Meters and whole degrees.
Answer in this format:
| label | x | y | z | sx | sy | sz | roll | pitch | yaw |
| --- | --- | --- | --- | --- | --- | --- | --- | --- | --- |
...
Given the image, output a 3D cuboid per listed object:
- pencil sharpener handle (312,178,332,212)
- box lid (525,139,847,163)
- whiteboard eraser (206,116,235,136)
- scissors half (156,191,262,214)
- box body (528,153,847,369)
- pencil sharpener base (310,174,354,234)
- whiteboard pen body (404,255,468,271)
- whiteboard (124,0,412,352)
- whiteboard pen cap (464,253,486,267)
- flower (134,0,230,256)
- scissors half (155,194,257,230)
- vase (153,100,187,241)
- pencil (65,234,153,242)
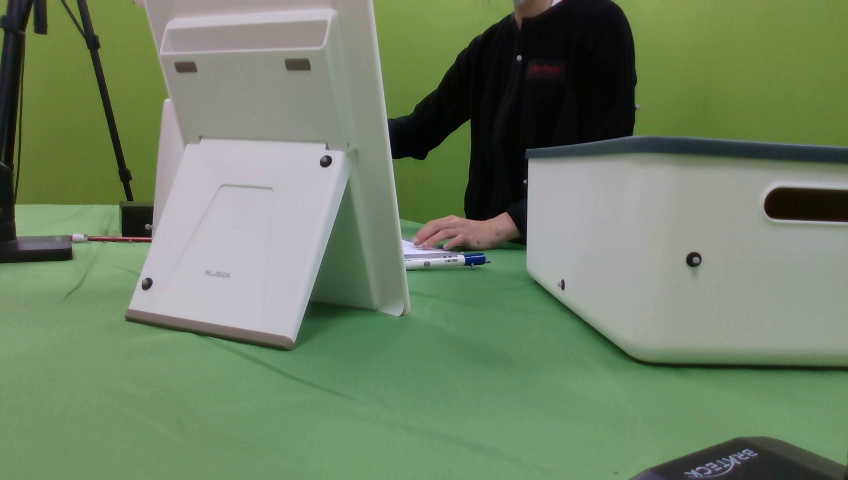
| label | x | y | z | sx | sy | sz | roll | pitch | yaw |
| --- | --- | --- | --- | --- | --- | --- | --- | --- | --- |
| pencil sharpener handle | -0.205 | -0.088 | 1.179 | 0.036 | 0.067 | 0.030 | 10 | 2 | -33 |
| box lid | 0.261 | -0.078 | 0.580 | 0.264 | 0.015 | 0.371 | 2 | 7 | -4 |
| whiteboard eraser | -0.450 | -0.252 | 1.335 | 0.056 | 0.042 | 0.112 | 1 | 7 | -22 |
| scissors half | -0.371 | -0.069 | 1.051 | 0.176 | 0.040 | 0.013 | 2 | 25 | -24 |
| box body | 0.258 | -0.005 | 0.591 | 0.254 | 0.160 | 0.363 | 2 | 7 | -4 |
| pencil sharpener base | -0.176 | -0.070 | 1.139 | 0.062 | 0.107 | 0.076 | -3 | 9 | -32 |
| whiteboard pen body | 0.013 | 0.030 | 0.792 | 0.141 | 0.017 | 0.017 | -3 | 9 | -24 |
| whiteboard | -0.151 | -0.049 | 0.472 | 0.216 | 0.305 | 0.144 | 6 | 27 | 24 |
| whiteboard pen cap | 0.066 | 0.027 | 0.818 | 0.033 | 0.018 | 0.018 | -5 | 10 | -24 |
| flower | -0.282 | -0.147 | 0.713 | 0.038 | 0.362 | 0.044 | -23 | 24 | -31 |
| scissors half | -0.378 | -0.051 | 1.058 | 0.176 | 0.040 | 0.012 | 20 | 22 | -31 |
| vase | -0.278 | -0.066 | 0.736 | 0.098 | 0.200 | 0.098 | 2 | 9 | 0 |
| pencil | -0.429 | -0.001 | 0.910 | 0.195 | 0.012 | 0.012 | 1 | 7 | -19 |
